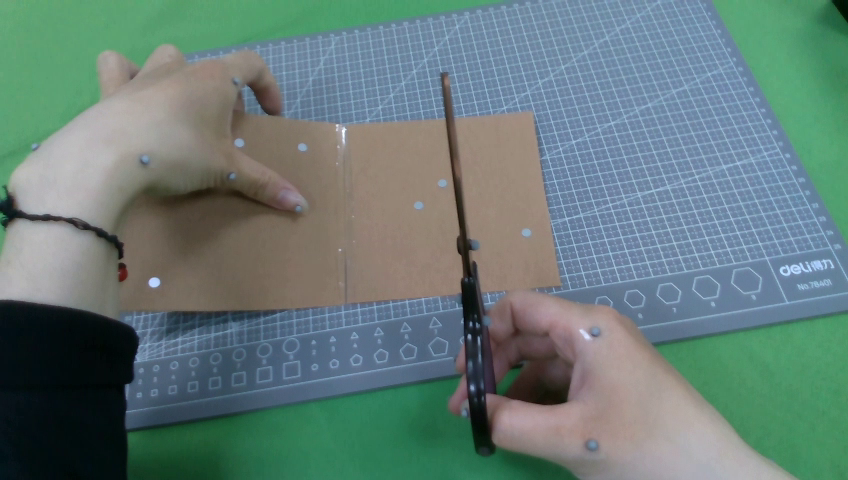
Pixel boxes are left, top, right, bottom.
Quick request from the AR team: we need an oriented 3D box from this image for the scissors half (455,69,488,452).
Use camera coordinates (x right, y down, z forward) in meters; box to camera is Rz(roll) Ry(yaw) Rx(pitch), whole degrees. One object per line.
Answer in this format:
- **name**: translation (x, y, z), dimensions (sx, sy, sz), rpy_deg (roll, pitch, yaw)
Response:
- **scissors half**: translation (0.020, 0.016, 0.266), dimensions (0.013, 0.040, 0.176), rpy_deg (-3, 104, 4)

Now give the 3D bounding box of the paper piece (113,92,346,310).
- **paper piece**: translation (-0.118, -0.023, 0.389), dimensions (0.139, 0.008, 0.135), rpy_deg (4, 74, -19)

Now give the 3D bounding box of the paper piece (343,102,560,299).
- **paper piece**: translation (0.013, -0.029, 0.399), dimensions (0.136, 0.004, 0.134), rpy_deg (-4, 66, 3)

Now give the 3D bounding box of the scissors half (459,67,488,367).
- **scissors half**: translation (0.022, 0.008, 0.284), dimensions (0.013, 0.176, 0.039), rpy_deg (-1, 31, 8)
